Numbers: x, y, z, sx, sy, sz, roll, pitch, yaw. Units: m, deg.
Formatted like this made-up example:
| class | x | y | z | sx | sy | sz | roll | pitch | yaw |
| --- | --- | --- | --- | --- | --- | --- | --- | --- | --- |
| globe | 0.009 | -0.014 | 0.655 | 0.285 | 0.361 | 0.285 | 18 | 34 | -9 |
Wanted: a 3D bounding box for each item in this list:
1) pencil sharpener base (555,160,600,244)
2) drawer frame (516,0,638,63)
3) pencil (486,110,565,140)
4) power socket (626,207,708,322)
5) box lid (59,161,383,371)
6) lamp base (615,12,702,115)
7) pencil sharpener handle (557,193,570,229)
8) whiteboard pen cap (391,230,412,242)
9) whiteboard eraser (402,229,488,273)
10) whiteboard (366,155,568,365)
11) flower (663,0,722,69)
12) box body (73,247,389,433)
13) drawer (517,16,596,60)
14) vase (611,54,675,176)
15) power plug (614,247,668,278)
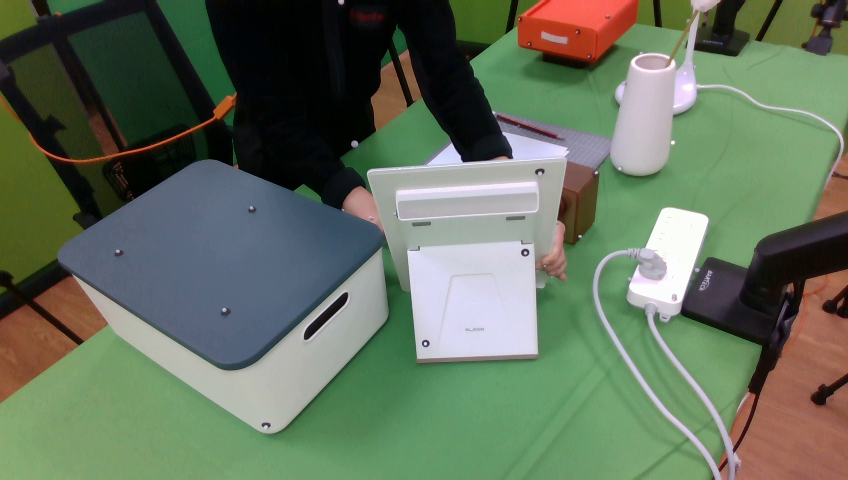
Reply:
| class | x | y | z | sx | sy | sz | roll | pitch | yaw |
| --- | --- | --- | --- | --- | --- | --- | --- | --- | --- |
| pencil sharpener base | 0.228 | -0.057 | 0.945 | 0.061 | 0.107 | 0.077 | 24 | 50 | 31 |
| drawer frame | 0.355 | -0.508 | 1.410 | 0.200 | 0.083 | 0.214 | 23 | 51 | 32 |
| pencil | 0.204 | -0.233 | 1.226 | 0.192 | 0.012 | 0.012 | 29 | 52 | 33 |
| power socket | 0.359 | 0.026 | 0.886 | 0.072 | 0.033 | 0.227 | 16 | 46 | 26 |
| box lid | -0.261 | 0.010 | 0.777 | 0.369 | 0.015 | 0.264 | 21 | 48 | 29 |
| lamp base | 0.484 | -0.363 | 1.211 | 0.180 | 0.181 | 0.159 | -15 | 41 | -14 |
| pencil sharpener handle | 0.195 | -0.038 | 0.908 | 0.035 | 0.068 | 0.031 | 23 | 50 | 32 |
| whiteboard pen cap | -0.036 | -0.006 | 0.980 | 0.033 | 0.018 | 0.018 | 10 | 43 | 17 |
| whiteboard eraser | 0.030 | 0.020 | 0.853 | 0.112 | 0.056 | 0.041 | -12 | 65 | 19 |
| whiteboard | 0.059 | 0.050 | 0.738 | 0.217 | 0.307 | 0.143 | -3 | 60 | 5 |
| flower | 0.379 | -0.261 | 0.965 | 0.044 | 0.362 | 0.038 | 21 | 53 | 5 |
| box body | -0.255 | 0.065 | 0.827 | 0.361 | 0.161 | 0.255 | 21 | 48 | 29 |
| drawer | 0.352 | -0.506 | 1.405 | 0.193 | 0.073 | 0.212 | 23 | 49 | 32 |
| vase | 0.377 | -0.209 | 1.031 | 0.098 | 0.201 | 0.097 | -3 | 40 | 3 |
| power plug | 0.306 | 0.031 | 0.851 | 0.072 | 0.053 | 0.035 | 24 | 49 | 33 |
